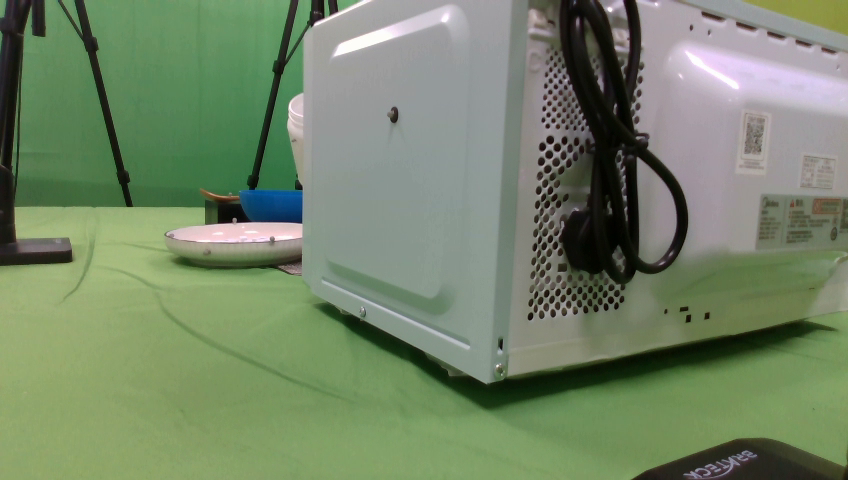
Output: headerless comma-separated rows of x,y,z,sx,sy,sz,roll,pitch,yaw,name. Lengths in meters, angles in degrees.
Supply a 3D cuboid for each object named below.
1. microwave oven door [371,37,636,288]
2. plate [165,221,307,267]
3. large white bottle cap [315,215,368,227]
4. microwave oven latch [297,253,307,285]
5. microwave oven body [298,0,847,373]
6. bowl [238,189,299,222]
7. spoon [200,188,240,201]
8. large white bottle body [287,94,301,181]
0.109,-0.080,0.686,0.358,0.243,0.039,-2,9,-33,microwave oven door
-0.241,0.004,0.829,0.209,0.038,0.209,0,9,0,plate
-0.177,-0.041,1.309,0.115,0.018,0.115,2,7,0,large white bottle cap
-0.082,0.027,0.583,0.079,0.029,0.030,-2,7,-33,microwave oven latch
0.151,-0.055,0.542,0.444,0.260,0.324,-2,7,-33,microwave oven body
-0.245,-0.045,1.052,0.151,0.077,0.151,3,7,0,bowl
-0.338,-0.080,1.189,0.194,0.021,0.041,5,3,-19,spoon
-0.217,-0.209,1.283,0.131,0.185,0.130,-1,42,2,large white bottle body
